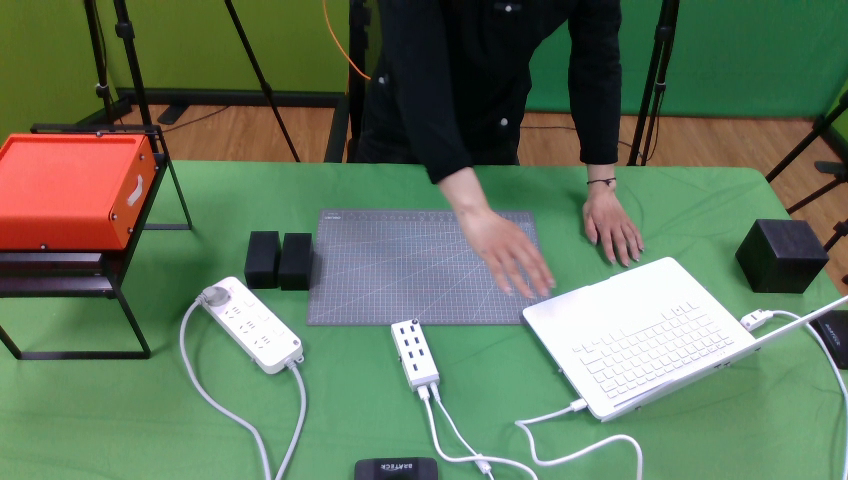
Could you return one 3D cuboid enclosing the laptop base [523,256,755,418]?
[{"bbox_3d":[0.380,0.159,1.077,0.355,0.023,0.234,-17,48,-19],"label":"laptop base"}]

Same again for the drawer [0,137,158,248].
[{"bbox_3d":[-0.549,-0.079,0.944,0.212,0.073,0.193,0,47,-3],"label":"drawer"}]

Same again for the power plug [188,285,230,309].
[{"bbox_3d":[-0.370,0.103,1.039,0.072,0.053,0.035,-26,54,-23],"label":"power plug"}]

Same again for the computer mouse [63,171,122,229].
[{"bbox_3d":[-0.522,-0.067,0.955,0.063,0.041,0.116,1,49,-10],"label":"computer mouse"}]

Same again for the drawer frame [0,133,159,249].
[{"bbox_3d":[-0.553,-0.078,0.942,0.214,0.083,0.200,-1,47,-4],"label":"drawer frame"}]

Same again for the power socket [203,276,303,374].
[{"bbox_3d":[-0.296,0.141,1.034,0.225,0.033,0.072,37,55,27],"label":"power socket"}]

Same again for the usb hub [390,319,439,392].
[{"bbox_3d":[-0.016,0.190,1.013,0.049,0.025,0.124,-10,48,-15],"label":"usb hub"}]

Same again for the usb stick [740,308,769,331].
[{"bbox_3d":[0.587,0.146,1.088,0.059,0.027,0.021,-21,48,-17],"label":"usb stick"}]

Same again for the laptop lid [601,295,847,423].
[{"bbox_3d":[0.449,0.180,0.905,0.357,0.242,0.013,-17,64,-20],"label":"laptop lid"}]
